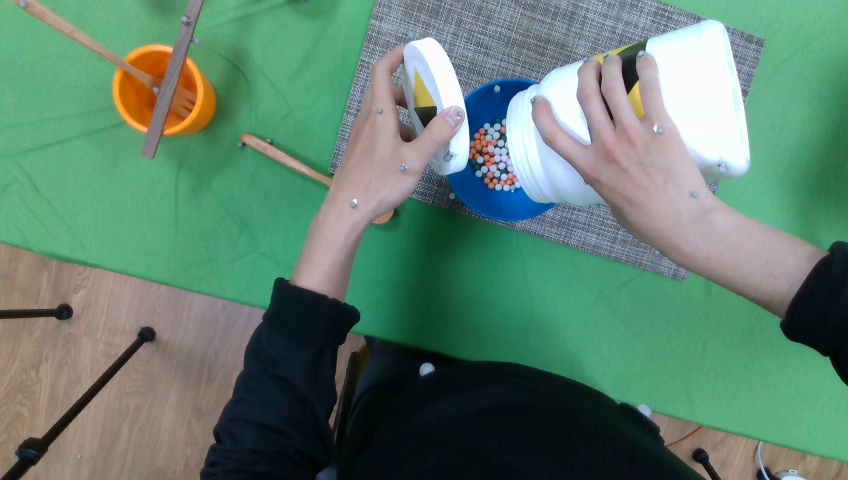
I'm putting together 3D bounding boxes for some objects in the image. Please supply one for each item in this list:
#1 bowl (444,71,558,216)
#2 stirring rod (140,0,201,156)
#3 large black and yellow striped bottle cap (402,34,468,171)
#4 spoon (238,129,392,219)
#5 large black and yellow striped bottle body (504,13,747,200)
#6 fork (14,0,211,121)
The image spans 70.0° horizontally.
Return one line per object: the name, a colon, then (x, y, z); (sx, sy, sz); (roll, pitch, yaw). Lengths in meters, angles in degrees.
bowl: (0.089, -0.103, 0.672); (0.151, 0.076, 0.151); (0, 96, -3)
stirring rod: (-0.254, -0.169, 0.609); (0.014, 0.006, 0.176); (18, 94, -7)
large black and yellow striped bottle cap: (0.007, -0.116, 0.520); (0.019, 0.114, 0.115); (-17, 96, -13)
spoon: (-0.124, -0.080, 0.693); (0.194, 0.021, 0.042); (27, 107, -7)
large black and yellow striped bottle body: (0.176, -0.108, 0.540); (0.183, 0.131, 0.131); (-10, 97, 32)
fork: (-0.305, -0.181, 0.607); (0.028, 0.018, 0.209); (-52, 139, 4)
